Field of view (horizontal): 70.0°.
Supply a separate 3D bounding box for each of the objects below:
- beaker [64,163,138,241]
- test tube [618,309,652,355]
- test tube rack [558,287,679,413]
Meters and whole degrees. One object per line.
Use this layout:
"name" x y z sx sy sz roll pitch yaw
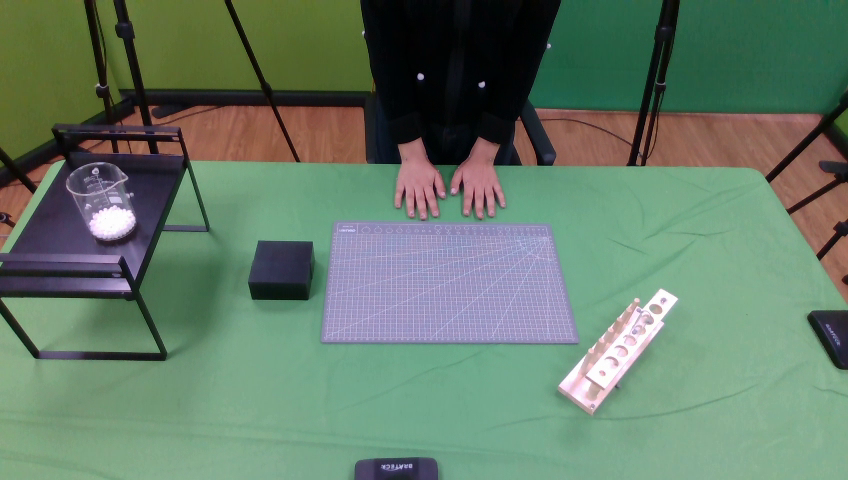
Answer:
"beaker" -0.478 -0.055 0.910 0.084 0.101 0.073 -9 48 -13
"test tube" 0.328 0.155 0.956 0.017 0.151 0.017 1 50 -1
"test tube rack" 0.326 0.170 1.009 0.066 0.085 0.242 35 54 26
